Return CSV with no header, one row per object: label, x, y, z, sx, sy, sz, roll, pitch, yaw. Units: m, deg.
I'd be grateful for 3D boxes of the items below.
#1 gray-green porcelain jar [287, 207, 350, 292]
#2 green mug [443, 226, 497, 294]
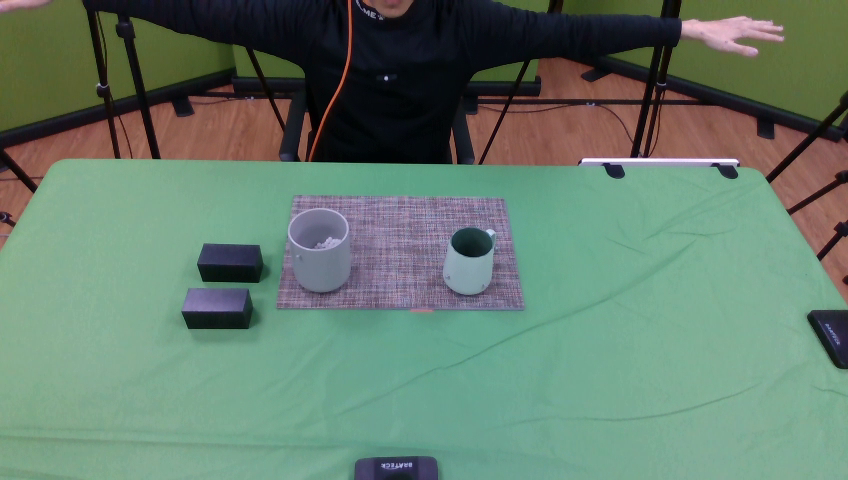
gray-green porcelain jar,-0.185,0.022,1.084,0.106,0.127,0.105,2,47,-2
green mug,0.093,0.028,1.114,0.092,0.105,0.125,31,52,23
